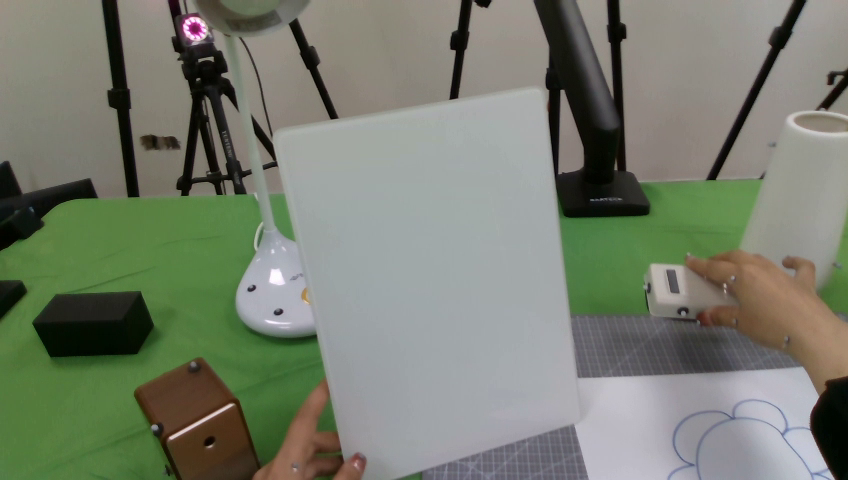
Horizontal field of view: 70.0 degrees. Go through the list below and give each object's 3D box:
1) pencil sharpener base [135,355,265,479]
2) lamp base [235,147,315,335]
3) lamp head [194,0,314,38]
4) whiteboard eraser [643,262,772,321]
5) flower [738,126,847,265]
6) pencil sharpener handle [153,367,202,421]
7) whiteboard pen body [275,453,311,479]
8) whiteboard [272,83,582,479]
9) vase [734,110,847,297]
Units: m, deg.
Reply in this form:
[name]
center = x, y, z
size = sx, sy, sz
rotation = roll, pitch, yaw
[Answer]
[pencil sharpener base]
center = -0.185, 0.161, 0.502
size = 0.061, 0.108, 0.076
rotation = -27, 39, -31
[lamp base]
center = -0.160, -0.009, 0.699
size = 0.161, 0.182, 0.177
rotation = -31, 39, -35
[lamp head]
center = -0.158, -0.247, 0.505
size = 0.112, 0.113, 0.122
rotation = -23, 62, -27
[whiteboard eraser]
center = 0.280, 0.053, 0.605
size = 0.112, 0.042, 0.055
rotation = 2, 44, 6
[flower]
center = 0.414, -0.097, 0.604
size = 0.044, 0.364, 0.038
rotation = -13, 51, -26
[pencil sharpener handle]
center = -0.217, 0.131, 0.530
size = 0.036, 0.068, 0.030
rotation = -34, 42, -26
[whiteboard pen body]
center = -0.136, 0.222, 0.478
size = 0.017, 0.017, 0.140
rotation = 12, 32, 24
[whiteboard]
center = 0.002, 0.030, 0.557
size = 0.217, 0.307, 0.143
rotation = -12, 14, -12
[vase]
center = 0.410, -0.036, 0.662
size = 0.098, 0.201, 0.097
rotation = -2, 33, 2
